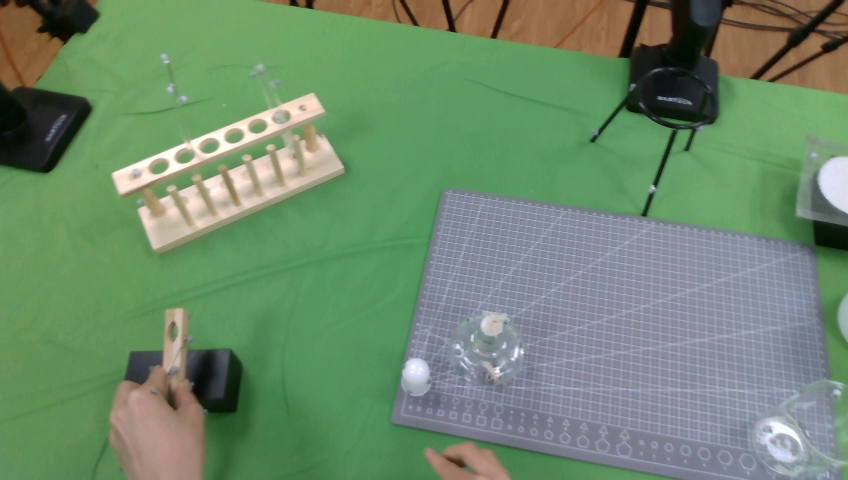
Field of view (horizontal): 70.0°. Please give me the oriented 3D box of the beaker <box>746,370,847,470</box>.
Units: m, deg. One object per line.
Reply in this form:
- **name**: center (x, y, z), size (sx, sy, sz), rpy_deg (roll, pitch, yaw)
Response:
- **beaker**: center (0.356, 0.173, 0.570), size (0.084, 0.101, 0.073), rpy_deg (14, 62, 9)

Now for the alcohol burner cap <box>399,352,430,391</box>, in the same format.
- **alcohol burner cap**: center (-0.010, 0.134, 0.624), size (0.034, 0.048, 0.033), rpy_deg (0, 61, 1)

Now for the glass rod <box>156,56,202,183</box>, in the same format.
- **glass rod**: center (-0.264, -0.116, 0.664), size (0.008, 0.201, 0.008), rpy_deg (3, 53, -4)

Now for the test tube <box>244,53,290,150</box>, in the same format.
- **test tube**: center (-0.177, -0.156, 0.705), size (0.017, 0.151, 0.017), rpy_deg (-2, 59, 4)

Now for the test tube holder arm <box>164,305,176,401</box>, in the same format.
- **test tube holder arm**: center (-0.236, 0.105, 0.568), size (0.010, 0.015, 0.087), rpy_deg (-5, 79, 6)

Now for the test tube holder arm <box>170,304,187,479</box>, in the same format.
- **test tube holder arm**: center (-0.227, 0.149, 0.559), size (0.013, 0.015, 0.177), rpy_deg (-6, 79, 6)

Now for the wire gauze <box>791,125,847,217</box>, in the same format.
- **wire gauze**: center (0.495, -0.074, 0.705), size (0.121, 0.011, 0.124), rpy_deg (16, 62, 9)

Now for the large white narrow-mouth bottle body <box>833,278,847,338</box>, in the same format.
- **large white narrow-mouth bottle body**: center (0.501, 0.040, 0.592), size (0.102, 0.196, 0.101), rpy_deg (0, 60, 0)

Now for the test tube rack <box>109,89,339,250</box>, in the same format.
- **test tube rack**: center (-0.229, -0.085, 0.722), size (0.242, 0.086, 0.066), rpy_deg (-27, 64, -14)

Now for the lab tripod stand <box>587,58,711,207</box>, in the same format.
- **lab tripod stand**: center (0.273, -0.134, 0.723), size (0.148, 0.132, 0.147), rpy_deg (1, 62, -1)

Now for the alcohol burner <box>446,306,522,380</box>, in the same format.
- **alcohol burner**: center (0.062, 0.096, 0.604), size (0.078, 0.120, 0.077), rpy_deg (1, 60, -1)
